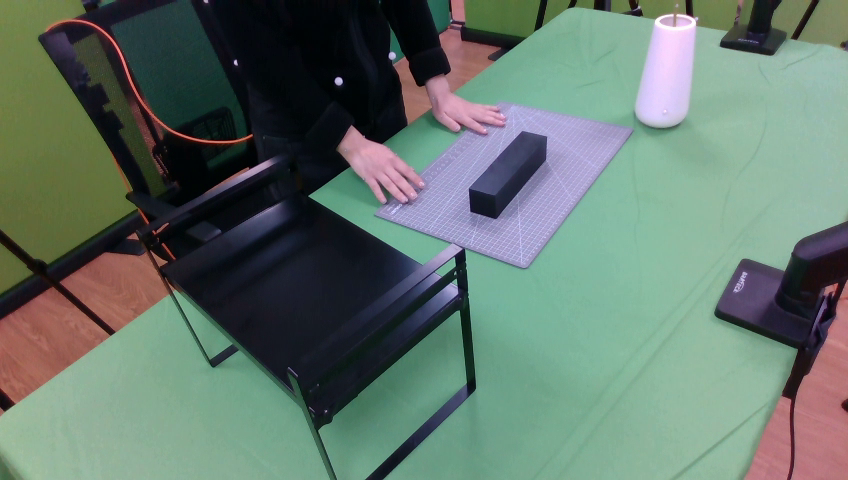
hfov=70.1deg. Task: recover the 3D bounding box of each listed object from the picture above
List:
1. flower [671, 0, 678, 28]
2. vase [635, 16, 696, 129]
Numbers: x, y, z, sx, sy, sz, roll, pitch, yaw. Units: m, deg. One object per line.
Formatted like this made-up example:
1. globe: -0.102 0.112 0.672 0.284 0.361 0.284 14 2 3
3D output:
1. flower: 0.440 -0.361 1.068 0.043 0.364 0.038 36 75 31
2. vase: 0.455 -0.310 1.133 0.098 0.201 0.097 -4 42 4
